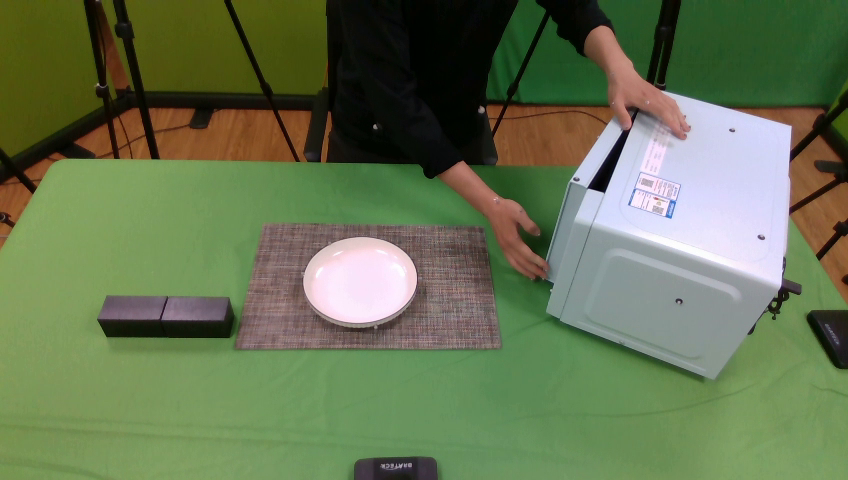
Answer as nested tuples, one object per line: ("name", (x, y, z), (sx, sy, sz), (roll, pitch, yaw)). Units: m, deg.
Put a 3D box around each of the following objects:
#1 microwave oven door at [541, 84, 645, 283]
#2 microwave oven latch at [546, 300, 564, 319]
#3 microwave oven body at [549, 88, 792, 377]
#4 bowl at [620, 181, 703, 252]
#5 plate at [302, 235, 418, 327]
("microwave oven door", (0.328, -0.113, 1.154), (0.039, 0.245, 0.355), (25, 49, 19))
("microwave oven latch", (0.242, 0.102, 1.081), (0.030, 0.029, 0.079), (21, 48, 17))
("microwave oven body", (0.456, -0.028, 1.088), (0.325, 0.261, 0.440), (20, 47, 16))
("bowl", (0.433, -0.031, 1.140), (0.151, 0.077, 0.150), (4, 49, -4))
("plate", (-0.114, 0.077, 1.098), (0.208, 0.039, 0.206), (2, 46, -2))
